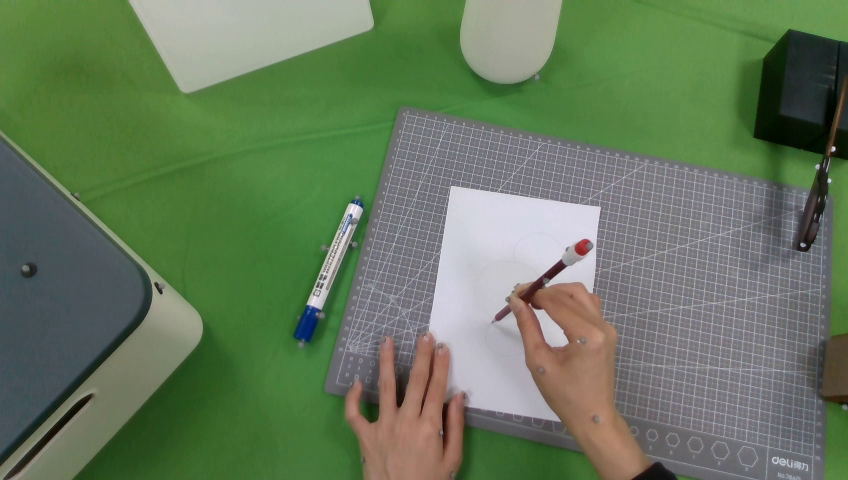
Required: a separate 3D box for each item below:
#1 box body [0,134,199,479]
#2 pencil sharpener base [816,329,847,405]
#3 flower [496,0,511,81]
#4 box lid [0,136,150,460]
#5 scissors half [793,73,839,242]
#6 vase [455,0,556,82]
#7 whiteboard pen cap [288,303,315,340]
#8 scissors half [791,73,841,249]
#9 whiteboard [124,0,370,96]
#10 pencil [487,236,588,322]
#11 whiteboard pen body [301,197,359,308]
[{"bbox_3d":[-0.403,0.039,0.492,0.363,0.161,0.254,39,77,10],"label":"box body"},{"bbox_3d":[0.403,0.111,0.512,0.077,0.107,0.061,16,73,1],"label":"pencil sharpener base"},{"bbox_3d":[0.076,-0.274,0.487,0.044,0.365,0.038,5,55,5],"label":"flower"},{"bbox_3d":[-0.404,0.015,0.422,0.370,0.015,0.263,39,76,10],"label":"box lid"},{"bbox_3d":[0.371,-0.080,0.565,0.013,0.040,0.174,14,75,23],"label":"scissors half"},{"bbox_3d":[0.080,-0.235,0.563,0.098,0.201,0.097,0,72,0],"label":"vase"},{"bbox_3d":[-0.112,0.075,0.559,0.018,0.018,0.033,18,70,5],"label":"whiteboard pen cap"},{"bbox_3d":[0.379,-0.076,0.583,0.012,0.040,0.175,14,93,29],"label":"scissors half"},{"bbox_3d":[-0.200,-0.329,0.562,0.217,0.308,0.142,-21,55,-6],"label":"whiteboard"},{"bbox_3d":[0.082,0.038,0.482,0.012,0.195,0.012,5,66,-12],"label":"pencil"},{"bbox_3d":[-0.093,0.022,0.577,0.017,0.017,0.140,19,72,5],"label":"whiteboard pen body"}]
